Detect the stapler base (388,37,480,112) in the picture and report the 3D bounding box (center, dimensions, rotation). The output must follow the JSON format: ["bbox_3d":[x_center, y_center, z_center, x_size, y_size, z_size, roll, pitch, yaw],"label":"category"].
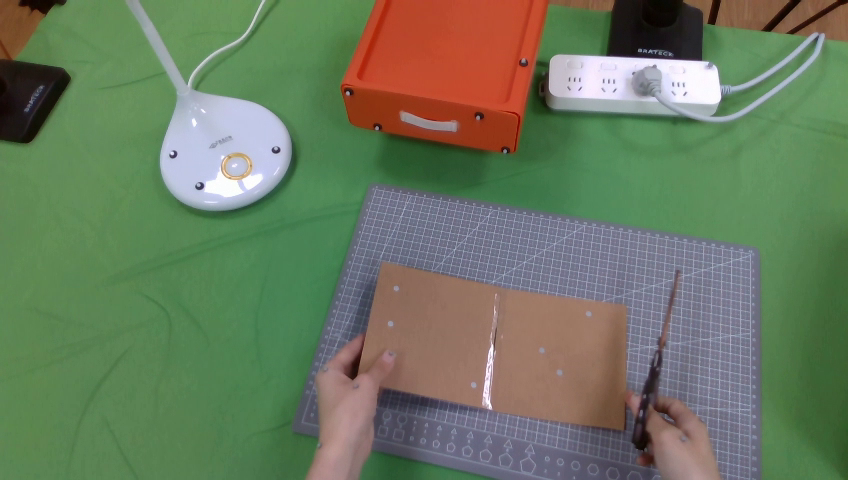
[{"bbox_3d":[0.009,-0.203,0.725,0.129,0.024,0.041,40,88,23],"label":"stapler base"}]

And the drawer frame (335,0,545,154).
[{"bbox_3d":[0.026,-0.223,0.714,0.201,0.083,0.212,11,63,9],"label":"drawer frame"}]

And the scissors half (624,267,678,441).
[{"bbox_3d":[0.214,0.101,0.560,0.013,0.040,0.174,14,65,25],"label":"scissors half"}]

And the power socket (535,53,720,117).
[{"bbox_3d":[0.256,-0.196,0.766,0.226,0.033,0.071,5,64,5],"label":"power socket"}]

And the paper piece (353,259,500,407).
[{"bbox_3d":[0.007,0.093,0.625,0.136,0.009,0.137,13,62,-4],"label":"paper piece"}]

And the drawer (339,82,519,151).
[{"bbox_3d":[0.028,-0.220,0.713,0.194,0.074,0.210,11,64,9],"label":"drawer"}]

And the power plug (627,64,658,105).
[{"bbox_3d":[0.261,-0.180,0.732,0.035,0.053,0.072,15,65,10],"label":"power plug"}]

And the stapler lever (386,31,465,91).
[{"bbox_3d":[0.000,-0.211,0.701,0.117,0.040,0.027,40,88,24],"label":"stapler lever"}]

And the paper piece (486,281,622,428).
[{"bbox_3d":[0.135,0.115,0.626,0.135,0.004,0.135,9,64,8],"label":"paper piece"}]

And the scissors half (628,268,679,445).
[{"bbox_3d":[0.222,0.109,0.577,0.012,0.040,0.175,13,81,31],"label":"scissors half"}]

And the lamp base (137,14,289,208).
[{"bbox_3d":[-0.260,-0.152,0.686,0.160,0.182,0.177,-40,65,-17],"label":"lamp base"}]
